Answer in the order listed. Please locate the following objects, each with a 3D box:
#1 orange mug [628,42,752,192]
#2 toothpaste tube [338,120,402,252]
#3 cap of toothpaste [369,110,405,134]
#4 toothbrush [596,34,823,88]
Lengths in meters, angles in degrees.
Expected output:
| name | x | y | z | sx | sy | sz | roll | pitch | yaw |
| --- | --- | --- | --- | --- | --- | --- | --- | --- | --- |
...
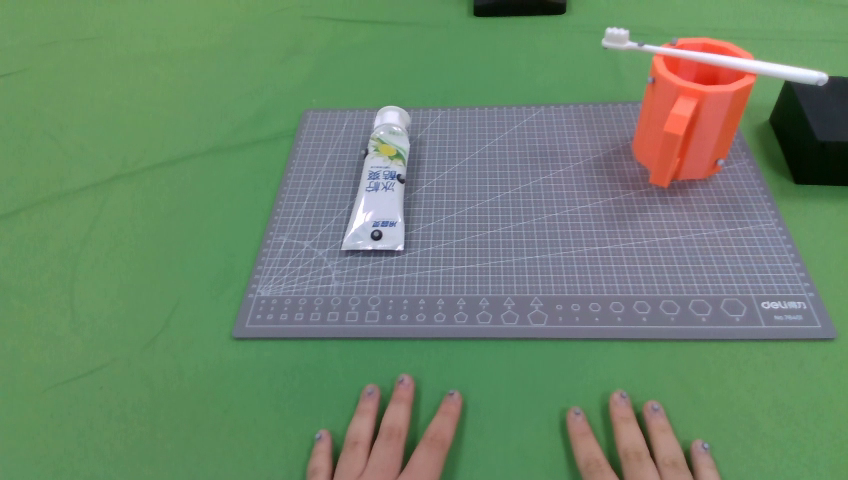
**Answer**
| name | x | y | z | sx | sy | sz | roll | pitch | yaw |
| --- | --- | --- | --- | --- | --- | --- | --- | --- | --- |
| orange mug | 0.229 | -0.104 | 0.539 | 0.083 | 0.102 | 0.126 | 21 | 48 | 23 |
| toothpaste tube | -0.044 | -0.054 | 0.563 | 0.055 | 0.035 | 0.163 | -3 | 51 | 8 |
| cap of toothpaste | -0.038 | -0.115 | 0.610 | 0.037 | 0.038 | 0.011 | 3 | 54 | 7 |
| toothbrush | 0.236 | -0.152 | 0.511 | 0.181 | 0.017 | 0.014 | 18 | 45 | 20 |
